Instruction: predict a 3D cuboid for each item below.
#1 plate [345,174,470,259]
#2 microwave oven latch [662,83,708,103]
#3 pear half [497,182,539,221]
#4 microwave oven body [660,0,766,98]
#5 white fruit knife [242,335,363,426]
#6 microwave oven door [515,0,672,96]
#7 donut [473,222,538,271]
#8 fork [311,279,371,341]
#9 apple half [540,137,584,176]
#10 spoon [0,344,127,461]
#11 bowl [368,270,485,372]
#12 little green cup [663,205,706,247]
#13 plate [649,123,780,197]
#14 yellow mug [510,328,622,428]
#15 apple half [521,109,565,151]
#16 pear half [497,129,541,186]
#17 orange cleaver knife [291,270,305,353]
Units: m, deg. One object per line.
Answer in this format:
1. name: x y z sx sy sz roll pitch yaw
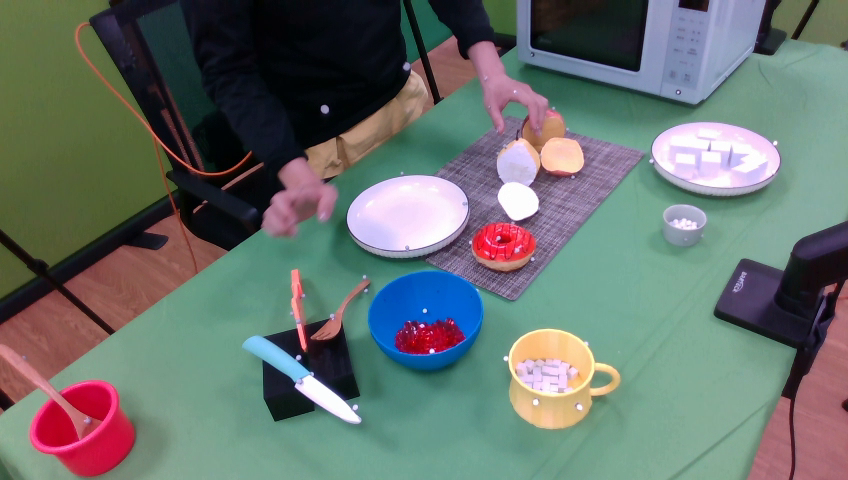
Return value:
1. plate: -0.026 -0.037 1.004 0.209 0.038 0.208 -4 40 4
2. microwave oven latch: 0.518 -0.296 1.204 0.078 0.029 0.030 28 52 35
3. pear half: 0.154 -0.057 1.005 0.070 0.031 0.088 14 52 5
4. microwave oven body: 0.472 -0.513 1.317 0.438 0.261 0.327 26 51 34
5. white fruit knife: -0.148 0.167 0.730 0.206 0.016 0.027 26 80 31
6. microwave oven door: 0.343 -0.455 1.259 0.353 0.245 0.039 26 51 33
7. donut: 0.123 0.008 0.923 0.099 0.048 0.098 -3 38 3
8. fork: -0.108 0.092 0.832 0.028 0.019 0.207 -7 19 15
9. apple half: 0.247 -0.146 1.089 0.081 0.033 0.081 -1 65 4
10. spoon: -0.433 0.191 0.720 0.194 0.021 0.042 47 53 -6
11. bowl: 0.007 0.118 0.791 0.151 0.077 0.150 -5 40 4
12. little green cup: 0.396 -0.021 0.926 0.061 0.039 0.061 -4 40 4
13. plate: 0.497 -0.135 1.046 0.207 0.039 0.206 -4 40 4
14. yellow mug: 0.168 0.164 0.722 0.130 0.064 0.099 0 40 8
15. apple half: 0.224 -0.212 1.145 0.080 0.075 0.053 -6 36 9
16. pear half: 0.167 -0.151 1.053 0.076 0.110 0.056 8 43 13
17. orange cleaver knife: -0.175 0.094 0.844 0.012 0.077 0.210 -11 14 -10
